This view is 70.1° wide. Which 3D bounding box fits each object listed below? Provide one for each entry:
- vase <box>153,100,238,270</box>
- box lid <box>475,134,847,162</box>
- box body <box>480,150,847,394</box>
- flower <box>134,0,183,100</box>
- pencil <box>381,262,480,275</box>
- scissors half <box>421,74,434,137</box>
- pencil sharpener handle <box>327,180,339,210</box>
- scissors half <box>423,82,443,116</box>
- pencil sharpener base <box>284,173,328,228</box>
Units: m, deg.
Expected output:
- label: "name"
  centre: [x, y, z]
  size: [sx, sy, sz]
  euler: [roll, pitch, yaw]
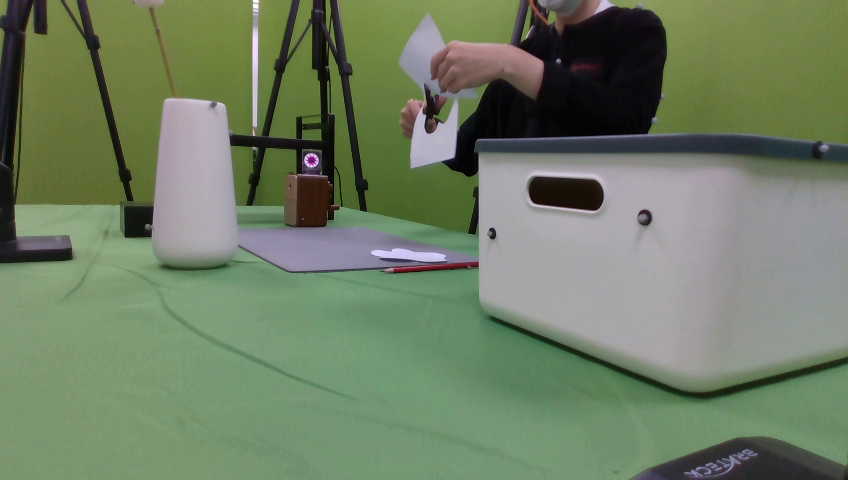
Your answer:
- label: "vase"
  centre: [-0.278, -0.066, 0.736]
  size: [0.098, 0.200, 0.098]
  euler: [2, 9, 0]
- label: "box lid"
  centre: [0.256, -0.073, 0.528]
  size: [0.373, 0.015, 0.262]
  euler: [-2, 8, -31]
- label: "box body"
  centre: [0.254, 0.002, 0.539]
  size: [0.366, 0.160, 0.253]
  euler: [-2, 9, -31]
- label: "flower"
  centre: [-0.282, -0.147, 0.713]
  size: [0.038, 0.362, 0.044]
  euler: [-23, 24, -31]
- label: "pencil"
  centre: [0.030, 0.036, 0.794]
  size: [0.195, 0.012, 0.012]
  euler: [-3, 9, -30]
- label: "scissors half"
  centre: [0.006, -0.242, 1.097]
  size: [0.013, 0.040, 0.175]
  euler: [23, -25, 11]
- label: "pencil sharpener handle"
  centre: [-0.194, -0.095, 1.257]
  size: [0.031, 0.067, 0.036]
  euler: [-2, -5, -36]
- label: "scissors half"
  centre: [0.015, -0.262, 1.102]
  size: [0.013, 0.040, 0.175]
  euler: [18, 3, 10]
- label: "pencil sharpener base"
  centre: [-0.239, -0.081, 1.231]
  size: [0.077, 0.107, 0.061]
  euler: [-2, 9, -36]
